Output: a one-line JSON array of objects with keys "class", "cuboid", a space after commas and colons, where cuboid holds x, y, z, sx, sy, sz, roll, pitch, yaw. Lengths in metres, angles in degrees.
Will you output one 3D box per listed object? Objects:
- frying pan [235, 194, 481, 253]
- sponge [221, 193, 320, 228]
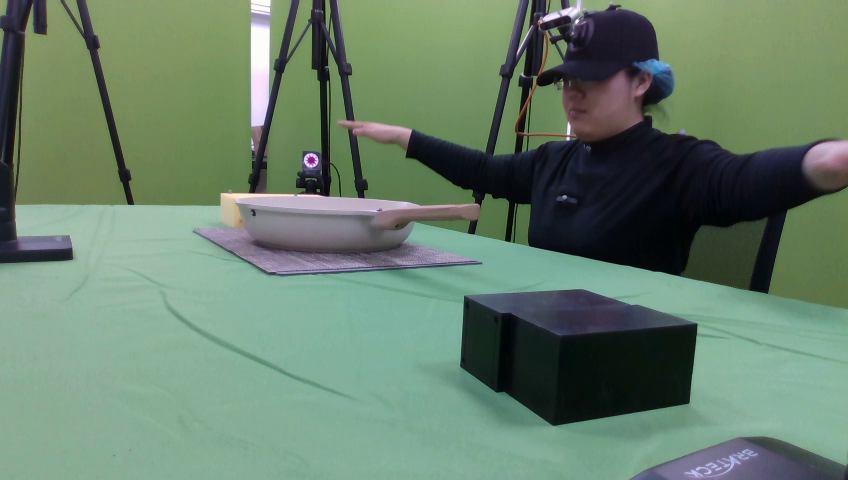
[{"class": "frying pan", "cuboid": [-0.089, -0.034, 0.891, 0.308, 0.102, 0.485, -4, 2, -36]}, {"class": "sponge", "cuboid": [-0.297, -0.062, 1.235, 0.208, 0.061, 0.117, -2, 9, -31]}]
